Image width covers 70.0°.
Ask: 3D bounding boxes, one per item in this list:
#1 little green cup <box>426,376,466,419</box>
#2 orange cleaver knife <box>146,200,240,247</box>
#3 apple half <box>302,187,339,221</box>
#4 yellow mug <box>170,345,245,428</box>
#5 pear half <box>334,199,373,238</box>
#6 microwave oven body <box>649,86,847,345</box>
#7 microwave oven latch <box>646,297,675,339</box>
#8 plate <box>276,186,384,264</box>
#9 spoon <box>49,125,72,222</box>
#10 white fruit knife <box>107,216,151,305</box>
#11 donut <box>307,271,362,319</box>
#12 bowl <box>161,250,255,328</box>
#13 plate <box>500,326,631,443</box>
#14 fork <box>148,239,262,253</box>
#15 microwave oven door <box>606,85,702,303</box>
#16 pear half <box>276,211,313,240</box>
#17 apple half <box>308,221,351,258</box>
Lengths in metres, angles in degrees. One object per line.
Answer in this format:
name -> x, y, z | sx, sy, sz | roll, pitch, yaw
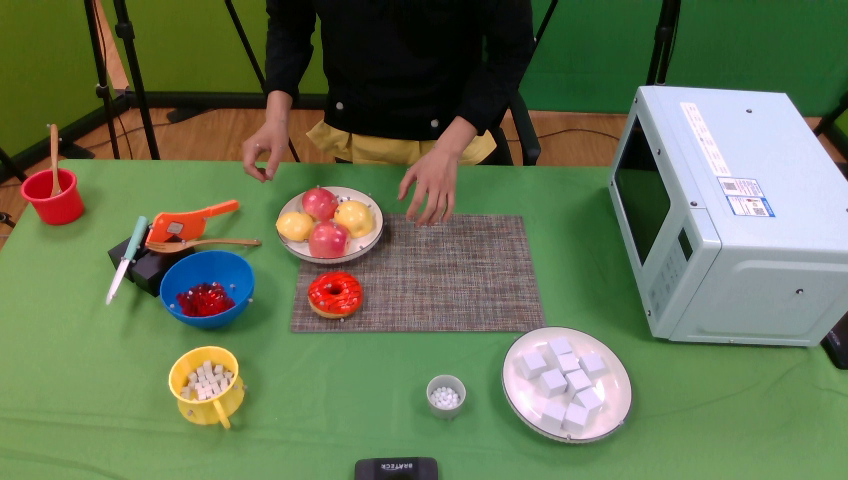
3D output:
little green cup -> 0.033, 0.248, 0.950 | 0.061, 0.039, 0.061 | 2, 46, -2
orange cleaver knife -> -0.435, -0.033, 1.157 | 0.012, 0.077, 0.211 | 31, 26, 18
apple half -> -0.204, -0.077, 1.216 | 0.081, 0.033, 0.081 | 20, 46, -22
yellow mug -> -0.322, 0.230, 0.922 | 0.100, 0.064, 0.130 | -24, 53, -25
pear half -> -0.147, -0.059, 1.210 | 0.076, 0.056, 0.109 | -16, 45, -25
microwave oven body -> 0.567, -0.053, 1.118 | 0.326, 0.261, 0.439 | 2, 45, -1
microwave oven latch -> 0.412, 0.134, 1.061 | 0.030, 0.029, 0.078 | 4, 45, 1
plate -> -0.184, -0.027, 1.195 | 0.209, 0.038, 0.208 | 2, 46, -2
spoon -> -0.717, -0.132, 1.189 | 0.041, 0.021, 0.193 | -3, 90, -6
white fruit knife -> -0.518, 0.032, 1.066 | 0.027, 0.016, 0.206 | -18, 45, 19
donut -> -0.157, 0.097, 1.073 | 0.099, 0.048, 0.098 | 4, 45, -4
bowl -> -0.362, 0.097, 1.040 | 0.151, 0.077, 0.150 | 2, 45, -2
plate -> 0.224, 0.234, 0.978 | 0.208, 0.039, 0.206 | 2, 46, -2
fork -> -0.398, 0.008, 1.117 | 0.208, 0.019, 0.028 | -5, 34, -37
microwave oven door -> 0.423, -0.094, 1.140 | 0.039, 0.245, 0.353 | 2, 46, -1
pear half -> -0.244, -0.035, 1.179 | 0.070, 0.031, 0.088 | 42, 39, 2
apple half -> -0.180, -0.005, 1.150 | 0.074, 0.053, 0.080 | 14, 43, 9
